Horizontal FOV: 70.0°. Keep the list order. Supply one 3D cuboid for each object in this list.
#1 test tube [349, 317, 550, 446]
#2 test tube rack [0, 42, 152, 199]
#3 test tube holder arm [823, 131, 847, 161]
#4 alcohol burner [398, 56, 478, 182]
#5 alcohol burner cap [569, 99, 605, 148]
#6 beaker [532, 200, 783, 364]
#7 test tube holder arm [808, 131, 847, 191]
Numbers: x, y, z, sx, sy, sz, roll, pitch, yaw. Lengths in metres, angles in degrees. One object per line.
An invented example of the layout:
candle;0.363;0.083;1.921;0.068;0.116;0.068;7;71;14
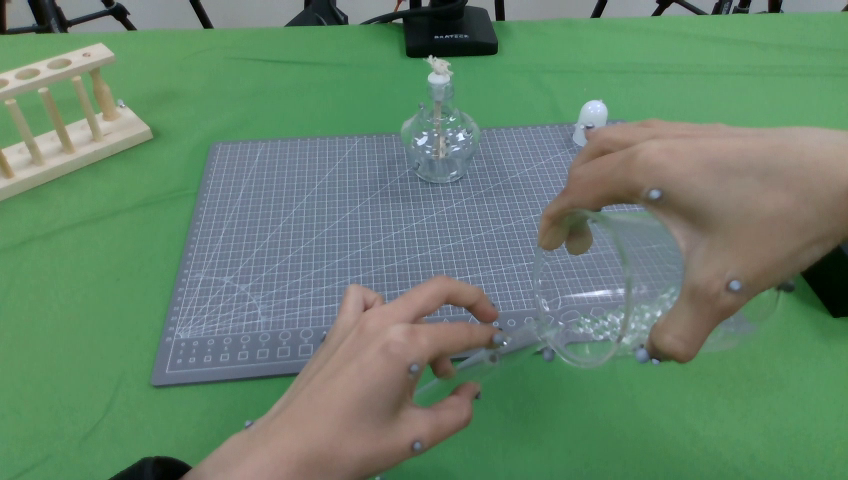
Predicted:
test tube;0.009;0.085;0.347;0.017;0.150;0.017;37;32;-28
test tube rack;-0.400;-0.100;0.574;0.242;0.086;0.066;-33;53;-30
test tube holder arm;0.371;-0.035;0.500;0.013;0.015;0.176;-7;44;4
alcohol burner;0.013;-0.115;0.572;0.078;0.120;0.077;-1;43;1
alcohol burner cap;0.172;-0.125;0.636;0.034;0.048;0.033;1;44;0
beaker;0.114;0.022;0.301;0.101;0.084;0.073;-1;52;-21
test tube holder arm;0.364;-0.066;0.532;0.010;0.015;0.087;-6;44;4
